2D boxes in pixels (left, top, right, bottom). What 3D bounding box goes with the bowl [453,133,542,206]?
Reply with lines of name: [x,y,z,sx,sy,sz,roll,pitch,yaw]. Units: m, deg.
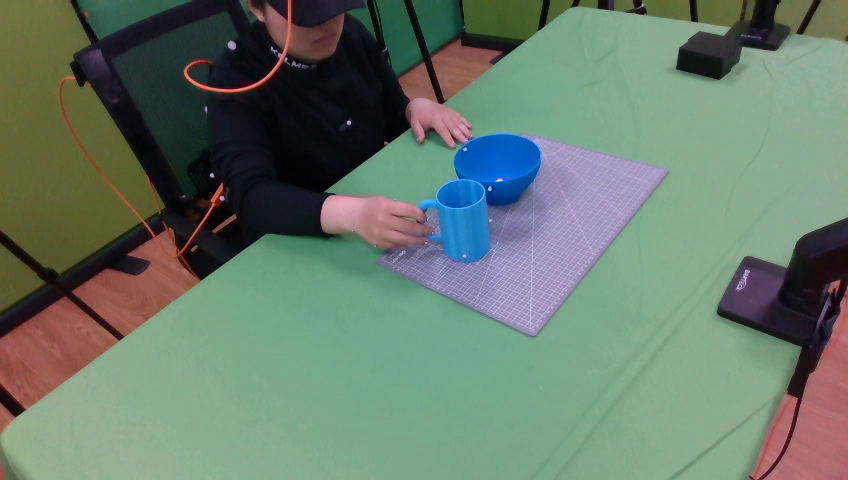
bowl: [0.129,-0.112,1.045,0.151,0.077,0.150,-5,40,5]

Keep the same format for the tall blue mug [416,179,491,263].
tall blue mug: [0.047,-0.025,0.932,0.107,0.108,0.077,-16,41,-7]
